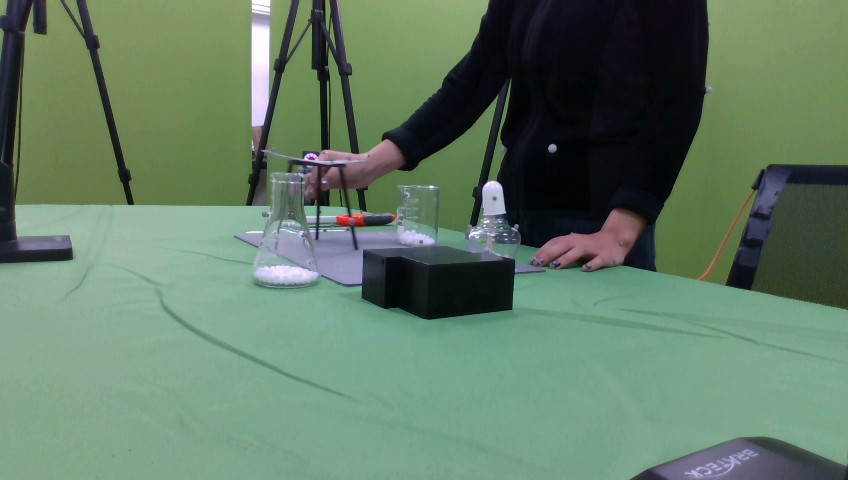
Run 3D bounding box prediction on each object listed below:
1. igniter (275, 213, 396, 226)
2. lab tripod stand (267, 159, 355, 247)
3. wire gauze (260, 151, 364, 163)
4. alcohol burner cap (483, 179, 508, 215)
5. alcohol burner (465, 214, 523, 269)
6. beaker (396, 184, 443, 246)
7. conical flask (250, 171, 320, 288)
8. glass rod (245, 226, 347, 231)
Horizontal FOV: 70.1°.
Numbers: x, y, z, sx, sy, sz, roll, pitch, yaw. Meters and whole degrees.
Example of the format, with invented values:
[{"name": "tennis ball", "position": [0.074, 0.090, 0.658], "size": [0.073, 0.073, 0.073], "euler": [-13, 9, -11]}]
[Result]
[{"name": "igniter", "position": [-0.178, -0.044, 1.258], "size": [0.278, 0.025, 0.057], "euler": [-3, -1, -39]}, {"name": "lab tripod stand", "position": [-0.169, -0.058, 0.938], "size": [0.148, 0.131, 0.148], "euler": [4, 6, 0]}, {"name": "wire gauze", "position": [-0.169, -0.124, 0.928], "size": [0.124, 0.011, 0.122], "euler": [7, 7, 25]}, {"name": "alcohol burner cap", "position": [0.094, -0.057, 0.810], "size": [0.034, 0.048, 0.034], "euler": [-8, 6, 1]}, {"name": "alcohol burner", "position": [0.094, -0.022, 0.815], "size": [0.078, 0.119, 0.078], "euler": [0, 7, 0]}, {"name": "beaker", "position": [-0.011, -0.043, 1.004], "size": [0.083, 0.100, 0.074], "euler": [8, 9, 39]}, {"name": "conical flask", "position": [-0.150, -0.013, 0.658], "size": [0.075, 0.122, 0.075], "euler": [2, 7, 0]}, {"name": "glass rod", "position": [-0.237, -0.022, 1.141], "size": [0.201, 0.008, 0.008], "euler": [-2, 8, -32]}]
